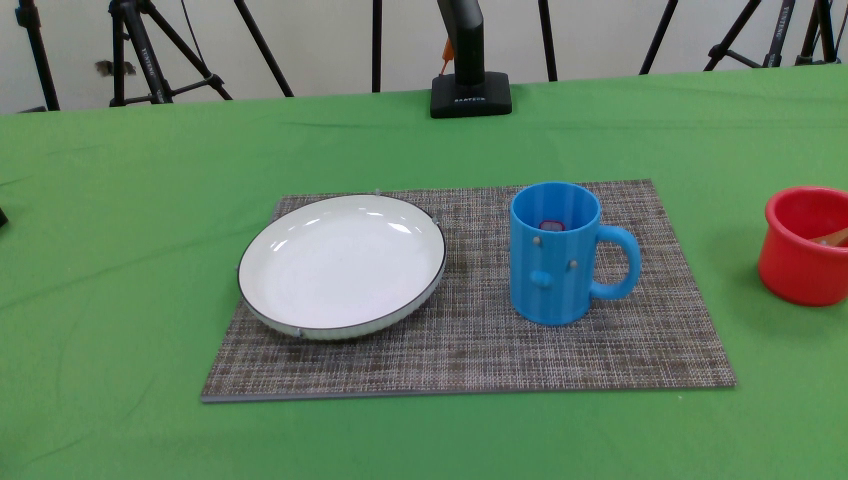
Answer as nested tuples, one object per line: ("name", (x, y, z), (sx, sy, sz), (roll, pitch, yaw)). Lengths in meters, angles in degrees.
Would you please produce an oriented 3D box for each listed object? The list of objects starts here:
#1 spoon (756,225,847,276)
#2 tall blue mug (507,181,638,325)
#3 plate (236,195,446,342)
("spoon", (0.387, -0.015, 0.524), (0.022, 0.194, 0.041), (39, 42, -18))
("tall blue mug", (0.129, 0.011, 0.548), (0.107, 0.109, 0.077), (-7, 38, 0))
("plate", (-0.080, 0.028, 0.612), (0.207, 0.039, 0.205), (-3, 39, 3))
